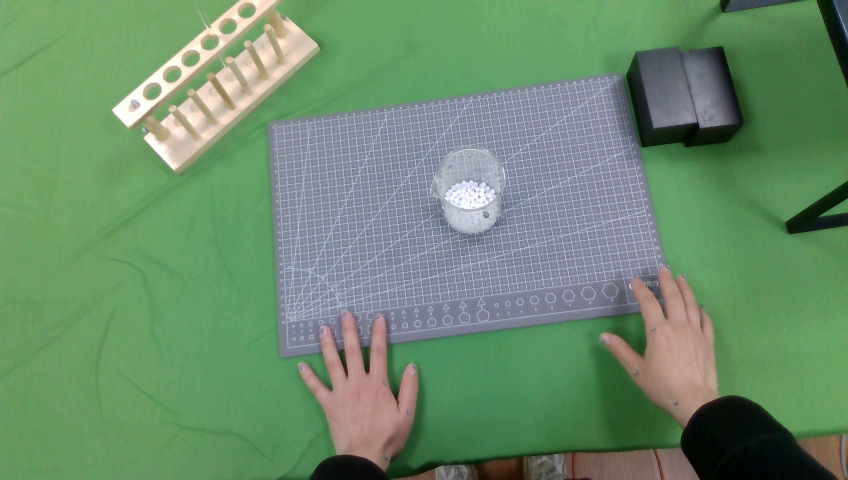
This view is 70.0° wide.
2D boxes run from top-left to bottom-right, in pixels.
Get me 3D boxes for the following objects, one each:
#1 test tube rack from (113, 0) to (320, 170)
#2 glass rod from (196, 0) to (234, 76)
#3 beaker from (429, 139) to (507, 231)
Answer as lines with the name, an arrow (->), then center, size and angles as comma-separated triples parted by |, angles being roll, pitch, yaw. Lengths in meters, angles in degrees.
test tube rack -> -0.248, -0.204, 0.747 | 0.242, 0.085, 0.066 | -44, 76, -8
glass rod -> -0.248, -0.255, 0.693 | 0.008, 0.201, 0.008 | 0, 66, 1
beaker -> 0.049, -0.055, 0.676 | 0.084, 0.101, 0.073 | -19, 74, -1
